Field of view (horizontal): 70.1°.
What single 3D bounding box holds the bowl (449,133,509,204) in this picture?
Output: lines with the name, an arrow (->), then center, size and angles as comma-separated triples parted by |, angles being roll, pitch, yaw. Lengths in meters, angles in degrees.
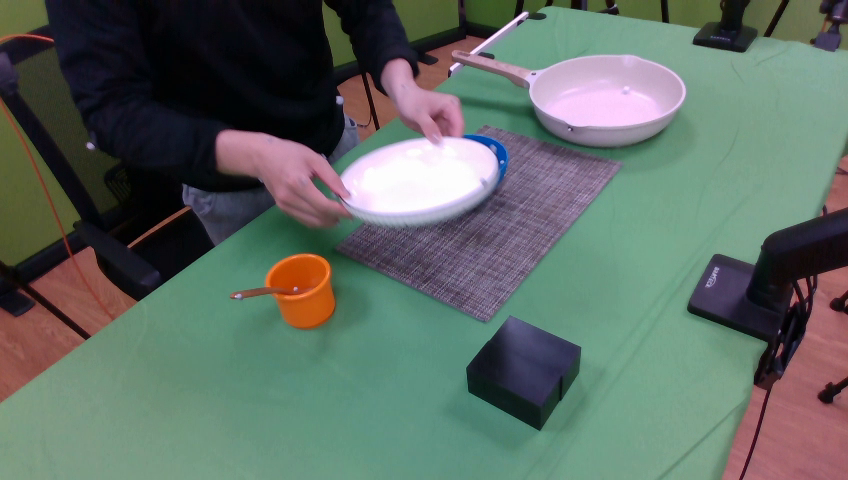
bowl -> 0.071, -0.112, 1.038 | 0.151, 0.077, 0.150 | -4, 41, 4

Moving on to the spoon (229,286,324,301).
spoon -> -0.197, 0.071, 0.817 | 0.041, 0.195, 0.021 | 12, 88, 23

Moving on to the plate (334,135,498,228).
plate -> -0.008, -0.072, 0.767 | 0.207, 0.039, 0.206 | -7, 33, 5

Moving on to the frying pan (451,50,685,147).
frying pan -> 0.269, -0.316, 1.233 | 0.485, 0.103, 0.307 | 26, 49, 21
